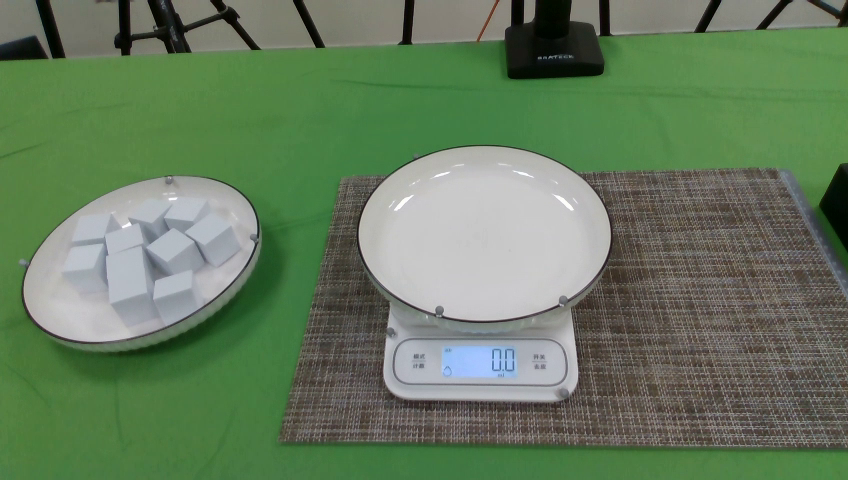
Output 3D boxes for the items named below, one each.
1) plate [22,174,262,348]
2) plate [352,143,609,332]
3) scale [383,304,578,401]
[{"bbox_3d":[-0.251,0.018,0.560,0.209,0.038,0.207,-2,46,3],"label":"plate"},{"bbox_3d":[0.046,-0.004,0.507,0.207,0.039,0.205,-2,46,2],"label":"plate"},{"bbox_3d":[0.047,0.040,0.511,0.148,0.032,0.199,0,46,6],"label":"scale"}]
